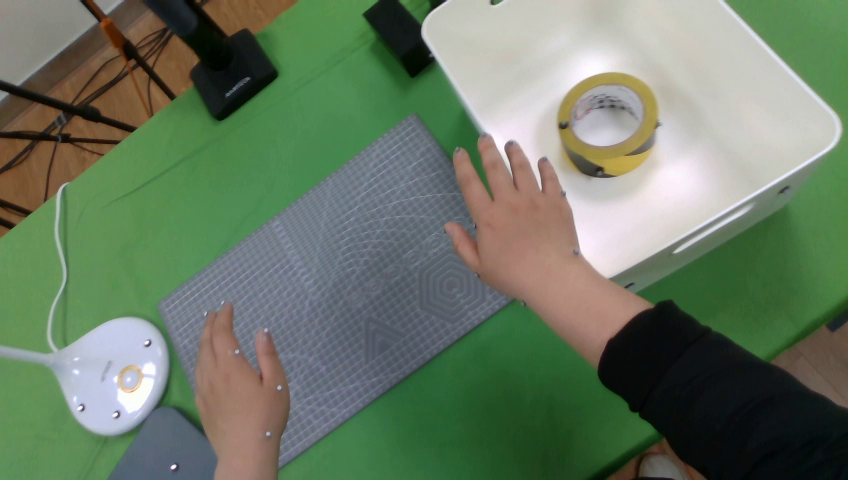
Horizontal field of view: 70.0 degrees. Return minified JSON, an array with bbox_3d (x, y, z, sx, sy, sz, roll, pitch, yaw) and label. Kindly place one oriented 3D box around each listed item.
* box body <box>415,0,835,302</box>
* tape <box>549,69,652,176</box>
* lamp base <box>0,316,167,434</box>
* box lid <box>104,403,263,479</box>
[{"bbox_3d":[0.190,-0.142,0.659,0.254,0.162,0.360,-32,66,6],"label":"box body"},{"bbox_3d":[0.205,-0.137,0.706,0.116,0.053,0.116,-5,71,16],"label":"tape"},{"bbox_3d":[-0.457,0.159,0.765,0.178,0.182,0.159,1,72,21],"label":"lamp base"},{"bbox_3d":[-0.272,0.394,0.721,0.368,0.015,0.263,30,84,24],"label":"box lid"}]
